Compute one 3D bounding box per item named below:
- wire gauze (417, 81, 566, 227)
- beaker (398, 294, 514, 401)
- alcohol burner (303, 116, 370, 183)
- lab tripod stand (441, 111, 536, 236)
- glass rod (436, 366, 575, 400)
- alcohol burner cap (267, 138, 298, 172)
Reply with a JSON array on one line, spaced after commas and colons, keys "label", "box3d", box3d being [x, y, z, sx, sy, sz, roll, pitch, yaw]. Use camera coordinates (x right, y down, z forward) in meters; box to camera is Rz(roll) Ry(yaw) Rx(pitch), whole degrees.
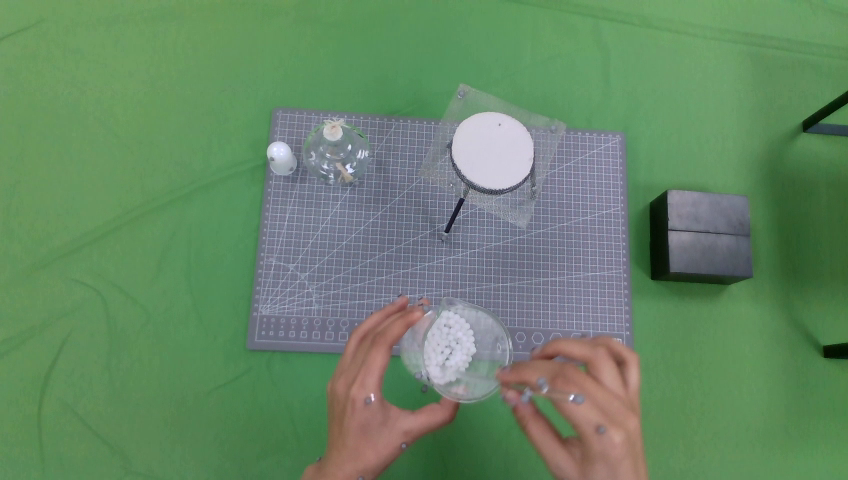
[{"label": "wire gauze", "box3d": [0.071, -0.093, 0.621, 0.125, 0.011, 0.121, 25, 76, 1]}, {"label": "beaker", "box3d": [0.019, 0.086, 0.505, 0.074, 0.100, 0.084, -20, 88, -16]}, {"label": "alcohol burner", "box3d": [-0.100, -0.110, 0.690, 0.078, 0.119, 0.077, 2, 75, -6]}, {"label": "lab tripod stand", "box3d": [0.070, -0.078, 0.687, 0.148, 0.132, 0.147, 2, 75, -5]}, {"label": "glass rod", "box3d": [0.050, 0.103, 0.446, 0.008, 0.199, 0.008, 3, 82, -22]}, {"label": "alcohol burner cap", "box3d": [-0.169, -0.103, 0.720, 0.034, 0.048, 0.033, 1, 77, -3]}]
